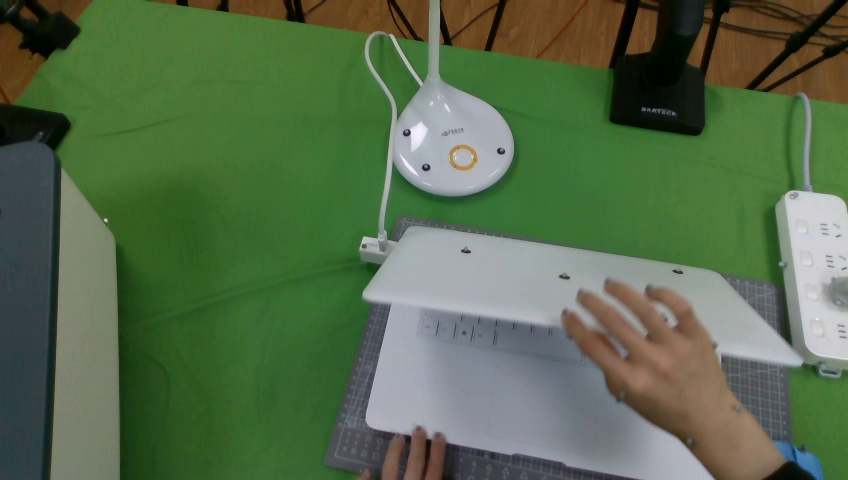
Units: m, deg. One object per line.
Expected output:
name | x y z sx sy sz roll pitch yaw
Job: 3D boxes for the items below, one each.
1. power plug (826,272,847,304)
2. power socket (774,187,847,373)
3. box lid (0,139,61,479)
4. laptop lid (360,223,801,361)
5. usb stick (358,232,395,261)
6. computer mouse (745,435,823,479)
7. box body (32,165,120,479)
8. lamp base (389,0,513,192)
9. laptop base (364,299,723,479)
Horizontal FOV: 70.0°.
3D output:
power plug | 0.464 0.056 0.639 0.072 0.053 0.035 18 62 9
power socket | 0.442 0.035 0.678 0.072 0.033 0.225 9 61 5
box lid | -0.446 0.077 0.510 0.263 0.015 0.368 -13 62 -7
laptop lid | 0.135 0.035 0.586 0.356 0.013 0.241 9 17 8
usb stick | -0.045 0.011 0.694 0.059 0.027 0.021 13 56 5
computer mouse | 0.333 0.238 0.559 0.062 0.041 0.116 12 57 11
box body | -0.445 0.116 0.574 0.254 0.161 0.360 -14 61 -7
lamp base | 0.027 -0.177 0.721 0.161 0.182 0.177 -24 60 -12
laptop base | 0.131 0.110 0.649 0.354 0.023 0.234 9 64 6
